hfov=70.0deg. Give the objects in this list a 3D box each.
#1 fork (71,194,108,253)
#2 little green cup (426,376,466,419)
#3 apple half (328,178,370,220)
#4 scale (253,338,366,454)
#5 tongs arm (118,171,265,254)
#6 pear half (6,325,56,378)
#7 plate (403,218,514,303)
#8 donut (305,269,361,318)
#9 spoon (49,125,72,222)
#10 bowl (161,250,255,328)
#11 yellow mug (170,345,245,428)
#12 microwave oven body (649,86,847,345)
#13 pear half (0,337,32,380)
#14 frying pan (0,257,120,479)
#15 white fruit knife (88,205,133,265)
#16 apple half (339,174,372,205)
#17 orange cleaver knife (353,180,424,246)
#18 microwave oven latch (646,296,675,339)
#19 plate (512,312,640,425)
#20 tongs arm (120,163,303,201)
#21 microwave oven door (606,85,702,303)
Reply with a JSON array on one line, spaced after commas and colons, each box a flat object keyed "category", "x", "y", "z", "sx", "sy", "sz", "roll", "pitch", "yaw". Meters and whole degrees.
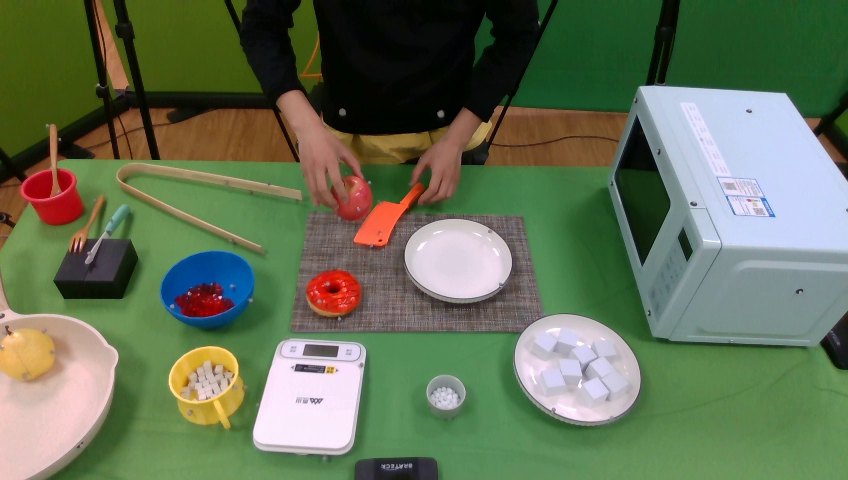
[{"category": "fork", "x": -0.634, "y": -0.036, "z": 1.158, "sx": 0.028, "sy": 0.019, "sz": 0.206, "roll": -8, "pitch": 32, "yaw": -8}, {"category": "little green cup", "x": 0.033, "y": 0.248, "z": 0.950, "sx": 0.061, "sy": 0.039, "sz": 0.061, "roll": 2, "pitch": 46, "yaw": -2}, {"category": "apple half", "x": -0.145, "y": -0.069, "z": 1.124, "sx": 0.080, "sy": 0.075, "sz": 0.053, "roll": 27, "pitch": 60, "yaw": 24}, {"category": "scale", "x": -0.175, "y": 0.236, "z": 0.951, "sx": 0.149, "sy": 0.032, "sz": 0.199, "roll": 4, "pitch": 45, "yaw": 0}, {"category": "tongs arm", "x": -0.472, "y": -0.056, "z": 1.209, "sx": 0.386, "sy": 0.028, "sz": 0.028, "roll": 23, "pitch": 56, "yaw": 17}, {"category": "pear half", "x": -0.608, "y": 0.158, "z": 0.935, "sx": 0.076, "sy": 0.110, "sz": 0.056, "roll": 31, "pitch": 51, "yaw": 20}, {"category": "plate", "x": 0.064, "y": 0.042, "z": 1.146, "sx": 0.209, "sy": 0.038, "sz": 0.208, "roll": 2, "pitch": 46, "yaw": -2}, {"category": "donut", "x": -0.160, "y": 0.094, "z": 1.075, "sx": 0.099, "sy": 0.048, "sz": 0.098, "roll": 4, "pitch": 45, "yaw": -3}, {"category": "spoon", "x": -0.718, "y": -0.131, "z": 1.189, "sx": 0.041, "sy": 0.021, "sz": 0.193, "roll": -4, "pitch": 90, "yaw": -6}, {"category": "bowl", "x": -0.362, "y": 0.098, "z": 1.040, "sx": 0.151, "sy": 0.077, "sz": 0.150, "roll": 2, "pitch": 45, "yaw": -2}, {"category": "yellow mug", "x": -0.322, "y": 0.230, "z": 0.922, "sx": 0.100, "sy": 0.064, "sz": 0.130, "roll": -24, "pitch": 53, "yaw": -25}, {"category": "microwave oven body", "x": 0.567, "y": -0.053, "z": 1.118, "sx": 0.326, "sy": 0.261, "sz": 0.439, "roll": 2, "pitch": 45, "yaw": -1}, {"category": "pear half", "x": -0.631, "y": 0.184, "z": 0.921, "sx": 0.070, "sy": 0.088, "sz": 0.031, "roll": 29, "pitch": 49, "yaw": 19}, {"category": "frying pan", "x": -0.647, "y": 0.164, "z": 0.936, "sx": 0.307, "sy": 0.103, "sz": 0.485, "roll": -19, "pitch": 58, "yaw": -22}, {"category": "white fruit knife", "x": -0.584, "y": -0.013, "z": 1.129, "sx": 0.016, "sy": 0.027, "sz": 0.206, "roll": 0, "pitch": 32, "yaw": -5}, {"category": "apple half", "x": -0.123, "y": -0.095, "z": 1.142, "sx": 0.081, "sy": 0.082, "sz": 0.032, "roll": 28, "pitch": 61, "yaw": 22}, {"category": "orange cleaver knife", "x": -0.070, "y": -0.059, "z": 1.244, "sx": 0.077, "sy": 0.012, "sz": 0.210, "roll": 17, "pitch": 50, "yaw": 22}, {"category": "microwave oven latch", "x": 0.412, "y": 0.134, "z": 1.061, "sx": 0.030, "sy": 0.029, "sz": 0.078, "roll": 4, "pitch": 45, "yaw": 1}, {"category": "plate", "x": 0.246, "y": 0.213, "z": 0.999, "sx": 0.208, "sy": 0.039, "sz": 0.206, "roll": 2, "pitch": 46, "yaw": -2}, {"category": "tongs arm", "x": -0.444, "y": -0.114, "z": 1.266, "sx": 0.384, "sy": 0.026, "sz": 0.050, "roll": 12, "pitch": 50, "yaw": 7}, {"category": "microwave oven door", "x": 0.422, "y": -0.094, "z": 1.140, "sx": 0.039, "sy": 0.245, "sz": 0.353, "roll": 2, "pitch": 46, "yaw": -1}]
